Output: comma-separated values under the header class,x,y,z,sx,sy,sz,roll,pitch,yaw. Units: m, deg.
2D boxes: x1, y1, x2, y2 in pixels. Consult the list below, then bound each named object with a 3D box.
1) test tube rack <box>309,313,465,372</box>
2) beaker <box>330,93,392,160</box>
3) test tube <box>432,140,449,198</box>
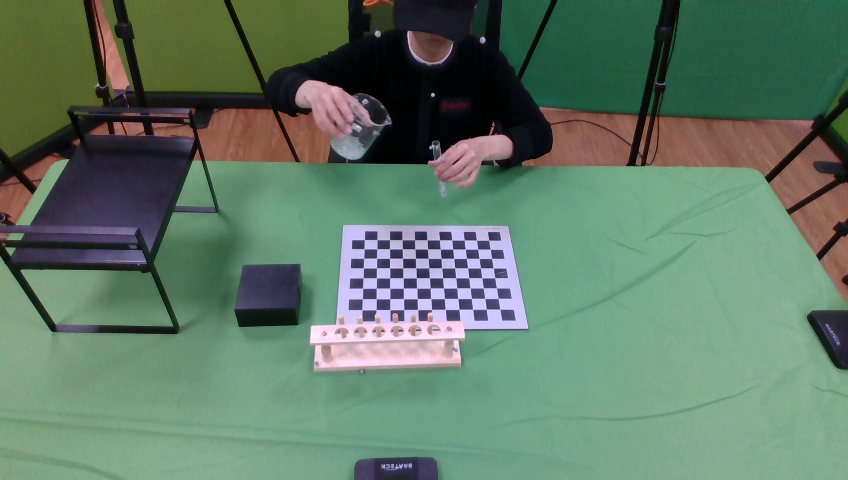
class,x,y,z,sx,sy,sz,roll,pitch,yaw
test tube rack,-0.059,0.161,0.990,0.242,0.085,0.066,-1,46,-5
beaker,-0.114,-0.197,1.074,0.084,0.100,0.073,22,44,-24
test tube,0.034,-0.137,1.192,0.017,0.151,0.017,-5,50,7
